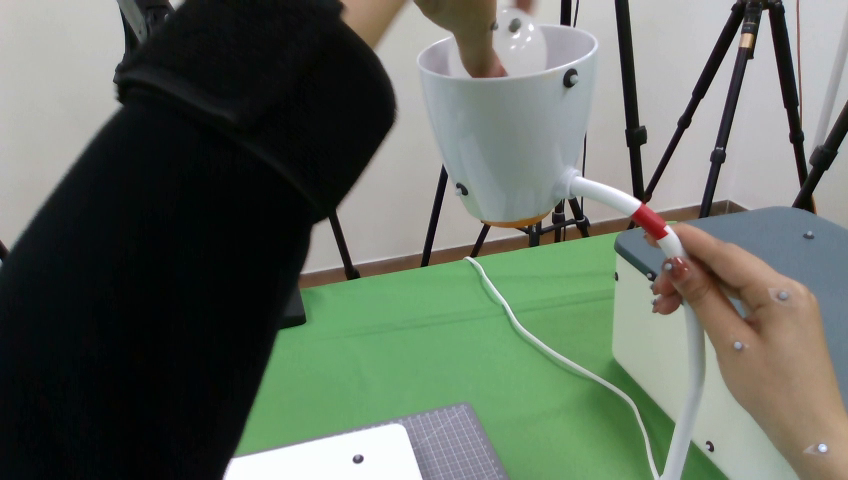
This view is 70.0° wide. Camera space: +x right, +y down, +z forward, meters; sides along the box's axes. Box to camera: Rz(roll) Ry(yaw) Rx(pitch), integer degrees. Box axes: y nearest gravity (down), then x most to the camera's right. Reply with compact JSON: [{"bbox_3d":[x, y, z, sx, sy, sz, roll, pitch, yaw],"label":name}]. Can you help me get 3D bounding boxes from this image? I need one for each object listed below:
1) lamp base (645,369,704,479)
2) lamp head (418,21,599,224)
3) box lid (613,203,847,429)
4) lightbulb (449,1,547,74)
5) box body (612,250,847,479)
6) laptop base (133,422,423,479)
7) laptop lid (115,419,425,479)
[{"bbox_3d":[0.169,0.193,0.436,0.160,0.181,0.179,9,27,20],"label":"lamp base"},{"bbox_3d":[0.061,-0.072,0.400,0.112,0.124,0.111,-10,29,6],"label":"lamp head"},{"bbox_3d":[0.377,0.051,0.558,0.264,0.015,0.367,-9,28,-15],"label":"box lid"},{"bbox_3d":[0.050,-0.095,0.385,0.059,0.109,0.059,-8,36,6],"label":"lightbulb"},{"bbox_3d":[0.380,0.119,0.590,0.255,0.161,0.360,-10,28,-15],"label":"box body"},{"bbox_3d":[-0.160,0.270,0.490,0.355,0.023,0.233,-9,31,-13],"label":"laptop base"},{"bbox_3d":[-0.160,0.260,0.483,0.357,0.013,0.239,-8,29,-11],"label":"laptop lid"}]
